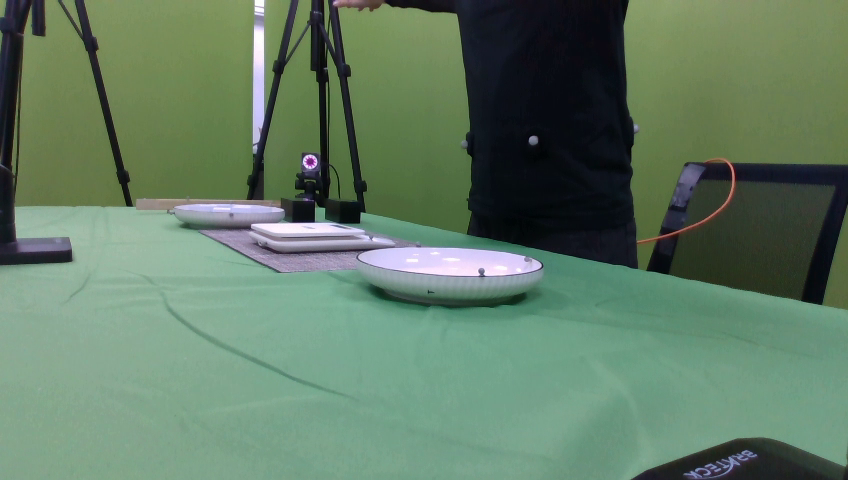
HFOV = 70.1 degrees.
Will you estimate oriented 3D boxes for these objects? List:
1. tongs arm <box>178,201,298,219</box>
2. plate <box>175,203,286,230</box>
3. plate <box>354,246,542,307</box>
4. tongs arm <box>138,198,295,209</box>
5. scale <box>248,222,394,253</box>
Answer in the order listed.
[{"bbox_3d":[-0.418,-0.072,1.419,0.028,0.028,0.389,4,7,28],"label":"tongs arm"},{"bbox_3d":[-0.380,-0.047,1.199,0.208,0.039,0.207,3,7,0],"label":"plate"},{"bbox_3d":[0.025,0.039,0.672,0.209,0.038,0.209,3,7,0],"label":"plate"},{"bbox_3d":[-0.488,-0.086,1.472,0.050,0.026,0.387,10,9,42],"label":"tongs arm"},{"bbox_3d":[-0.162,-0.006,0.954,0.202,0.031,0.148,-1,9,-32],"label":"scale"}]
